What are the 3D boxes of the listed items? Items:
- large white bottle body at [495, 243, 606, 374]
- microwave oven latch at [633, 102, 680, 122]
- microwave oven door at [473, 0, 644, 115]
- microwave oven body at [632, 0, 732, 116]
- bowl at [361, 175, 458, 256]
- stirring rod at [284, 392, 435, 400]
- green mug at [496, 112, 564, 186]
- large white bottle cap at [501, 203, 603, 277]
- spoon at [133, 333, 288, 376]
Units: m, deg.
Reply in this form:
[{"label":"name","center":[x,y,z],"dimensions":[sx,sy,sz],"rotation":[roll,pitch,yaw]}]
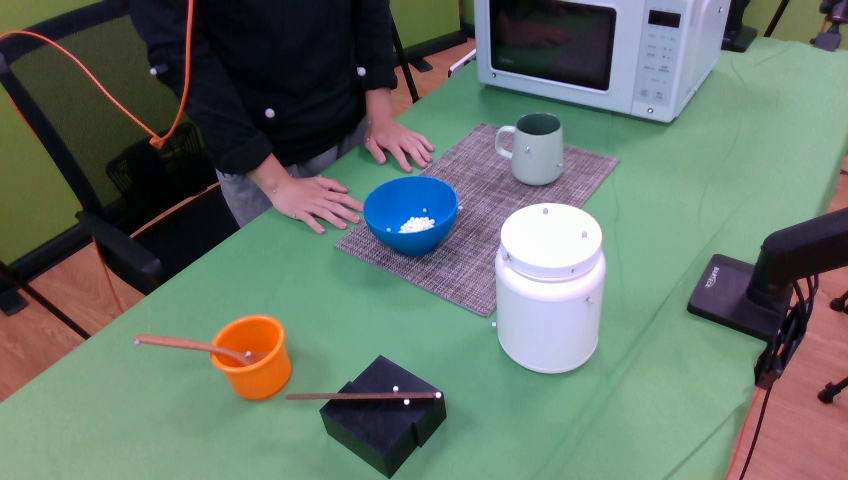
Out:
[{"label":"large white bottle body","center":[0.155,0.061,0.748],"dimensions":[0.130,0.185,0.130],"rotation":[-4,40,4]},{"label":"microwave oven latch","center":[0.444,-0.249,1.157],"dimensions":[0.078,0.029,0.030],"rotation":[21,49,30]},{"label":"microwave oven door","center":[0.257,-0.396,1.199],"dimensions":[0.353,0.245,0.039],"rotation":[21,48,29]},{"label":"microwave oven body","center":[0.377,-0.462,1.267],"dimensions":[0.438,0.261,0.327],"rotation":[21,48,30]},{"label":"bowl","center":[-0.019,-0.028,0.955],"dimensions":[0.151,0.077,0.150],"rotation":[-4,40,4]},{"label":"stirring rod","center":[-0.075,0.180,0.698],"dimensions":[0.176,0.006,0.014],"rotation":[-2,6,6]},{"label":"green mug","center":[0.184,-0.161,1.061],"dimensions":[0.124,0.105,0.092],"rotation":[15,46,24]},{"label":"large white bottle cap","center":[0.146,-0.003,0.693],"dimensions":[0.115,0.018,0.114],"rotation":[-4,40,4]},{"label":"spoon","center":[-0.257,0.137,0.747],"dimensions":[0.021,0.195,0.041],"rotation":[-47,40,22]}]
